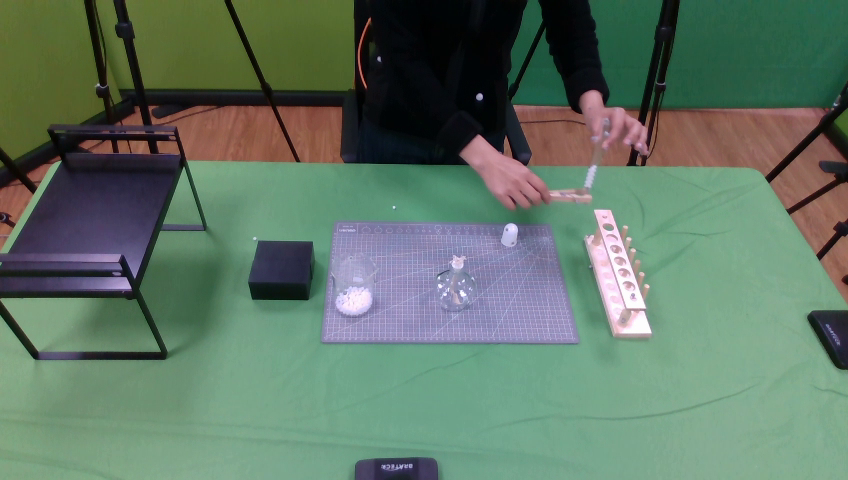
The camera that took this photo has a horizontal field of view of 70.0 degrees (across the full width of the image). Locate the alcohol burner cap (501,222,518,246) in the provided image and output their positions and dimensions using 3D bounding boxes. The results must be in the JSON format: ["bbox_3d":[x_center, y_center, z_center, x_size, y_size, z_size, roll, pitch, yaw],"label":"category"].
[{"bbox_3d":[0.173,-0.013,1.206,0.034,0.048,0.033,0,47,0],"label":"alcohol burner cap"}]

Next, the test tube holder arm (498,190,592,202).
[{"bbox_3d":[0.225,-0.082,1.129,0.179,0.015,0.013,1,47,-9],"label":"test tube holder arm"}]

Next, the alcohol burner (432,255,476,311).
[{"bbox_3d":[0.055,0.070,1.068,0.078,0.119,0.077,3,45,-3],"label":"alcohol burner"}]

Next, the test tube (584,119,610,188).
[{"bbox_3d":[0.305,-0.150,1.076,0.017,0.151,0.017,1,47,-1],"label":"test tube"}]

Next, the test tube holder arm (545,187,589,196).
[{"bbox_3d":[0.268,-0.088,1.141,0.088,0.015,0.010,-7,50,-16],"label":"test tube holder arm"}]

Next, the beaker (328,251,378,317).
[{"bbox_3d":[-0.123,0.079,1.055,0.084,0.101,0.073,0,47,-5],"label":"beaker"}]

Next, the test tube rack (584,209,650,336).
[{"bbox_3d":[0.365,0.056,1.129,0.067,0.085,0.240,1,46,-3],"label":"test tube rack"}]
